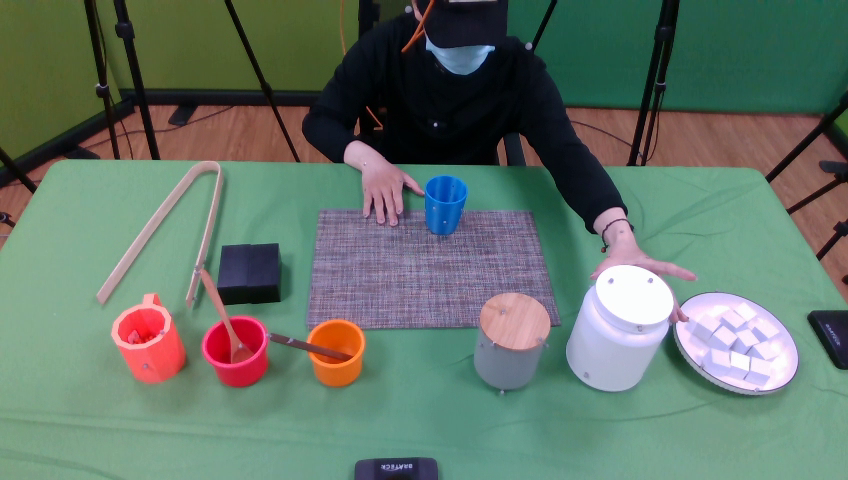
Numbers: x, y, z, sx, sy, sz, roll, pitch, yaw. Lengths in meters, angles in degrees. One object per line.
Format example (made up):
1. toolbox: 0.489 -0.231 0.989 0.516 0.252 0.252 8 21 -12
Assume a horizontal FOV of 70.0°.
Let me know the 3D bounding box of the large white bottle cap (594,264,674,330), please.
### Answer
1. large white bottle cap: 0.314 0.083 0.906 0.115 0.018 0.114 2 46 -2

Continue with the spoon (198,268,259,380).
1. spoon: -0.312 0.132 0.962 0.041 0.021 0.194 -24 96 -22

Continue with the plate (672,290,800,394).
1. plate: 0.533 0.179 1.050 0.208 0.039 0.206 2 46 -2

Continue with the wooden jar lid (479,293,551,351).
1. wooden jar lid: 0.138 0.127 0.925 0.108 0.021 0.107 1 47 -1

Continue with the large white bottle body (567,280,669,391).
1. large white bottle body: 0.310 0.141 0.967 0.131 0.185 0.130 2 46 -1

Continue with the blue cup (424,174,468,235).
1. blue cup: 0.039 -0.064 1.201 0.093 0.101 0.092 3 46 -3

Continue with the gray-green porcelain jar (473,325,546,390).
1. gray-green porcelain jar: 0.135 0.170 0.969 0.106 0.127 0.105 2 46 -2

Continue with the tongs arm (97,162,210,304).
1. tongs arm: -0.519 -0.028 1.183 0.028 0.028 0.385 6 45 12

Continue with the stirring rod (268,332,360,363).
1. stirring rod: -0.167 0.168 0.942 0.177 0.006 0.014 26 27 -41

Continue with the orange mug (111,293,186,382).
1. orange mug: -0.435 0.149 0.969 0.083 0.101 0.125 -5 51 -8

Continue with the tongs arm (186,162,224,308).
1. tongs arm: -0.435 -0.024 1.181 0.051 0.026 0.382 -2 45 0
